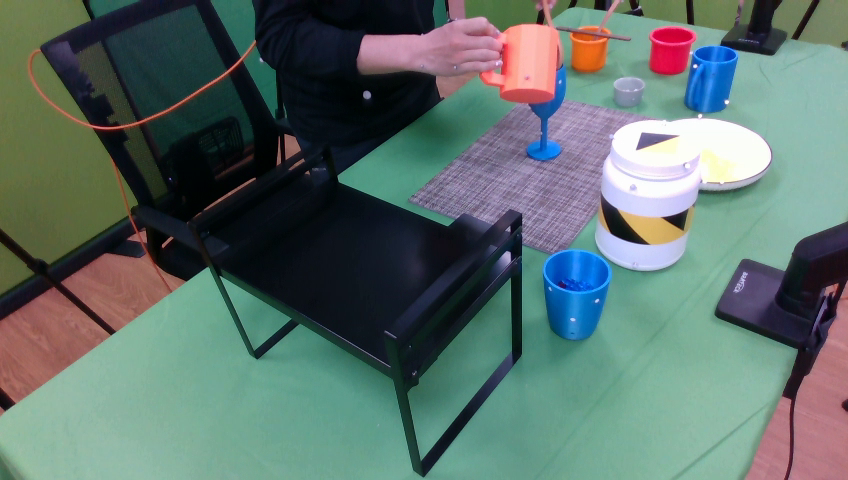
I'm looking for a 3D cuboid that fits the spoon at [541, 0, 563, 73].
[{"bbox_3d":[0.210,-0.379,1.015,0.021,0.194,0.041,-14,13,7],"label":"spoon"}]

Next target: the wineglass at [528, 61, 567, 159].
[{"bbox_3d":[0.221,-0.237,1.097,0.074,0.173,0.073,-4,41,4],"label":"wineglass"}]

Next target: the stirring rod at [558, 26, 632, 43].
[{"bbox_3d":[0.381,-0.462,1.356,0.175,0.006,0.014,23,48,29],"label":"stirring rod"}]

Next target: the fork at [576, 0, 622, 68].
[{"bbox_3d":[0.409,-0.484,1.381,0.028,0.019,0.207,37,101,46],"label":"fork"}]

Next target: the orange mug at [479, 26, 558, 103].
[{"bbox_3d":[0.147,-0.274,0.937,0.127,0.100,0.083,8,-2,-18],"label":"orange mug"}]

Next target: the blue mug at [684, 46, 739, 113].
[{"bbox_3d":[0.556,-0.310,1.190,0.117,0.106,0.081,-32,46,-25],"label":"blue mug"}]

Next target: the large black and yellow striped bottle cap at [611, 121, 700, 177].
[{"bbox_3d":[0.315,-0.126,0.823,0.115,0.019,0.114,-4,42,4],"label":"large black and yellow striped bottle cap"}]

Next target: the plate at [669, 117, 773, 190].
[{"bbox_3d":[0.495,-0.148,1.063,0.209,0.038,0.208,-5,40,4],"label":"plate"}]

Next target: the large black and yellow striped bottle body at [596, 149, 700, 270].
[{"bbox_3d":[0.323,-0.062,0.877,0.131,0.185,0.130,-5,40,4],"label":"large black and yellow striped bottle body"}]

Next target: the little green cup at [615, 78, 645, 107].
[{"bbox_3d":[0.426,-0.306,1.257,0.061,0.039,0.061,-4,40,4],"label":"little green cup"}]

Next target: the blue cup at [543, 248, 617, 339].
[{"bbox_3d":[0.199,0.076,0.797,0.092,0.100,0.092,-4,39,4],"label":"blue cup"}]
